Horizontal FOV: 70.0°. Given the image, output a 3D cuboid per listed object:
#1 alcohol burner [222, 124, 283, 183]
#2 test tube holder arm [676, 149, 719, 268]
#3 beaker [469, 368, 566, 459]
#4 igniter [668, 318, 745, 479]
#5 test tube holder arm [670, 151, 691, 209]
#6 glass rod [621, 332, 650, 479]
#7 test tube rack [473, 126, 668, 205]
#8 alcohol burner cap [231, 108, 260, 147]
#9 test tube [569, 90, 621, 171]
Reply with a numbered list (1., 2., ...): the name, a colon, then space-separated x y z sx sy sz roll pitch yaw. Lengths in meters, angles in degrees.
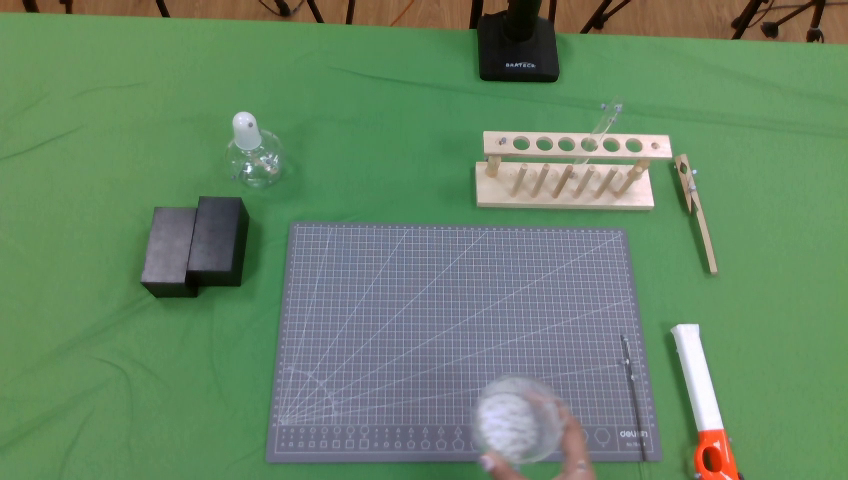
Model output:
1. alcohol burner: -0.224 -0.125 0.777 0.078 0.120 0.077 1 64 -1
2. test tube holder arm: 0.374 -0.046 0.831 0.013 0.015 0.177 -20 64 26
3. beaker: 0.081 0.163 0.560 0.084 0.101 0.073 -12 69 -6
4. igniter: 0.331 0.225 0.704 0.057 0.025 0.274 2 65 -14
5. test tube holder arm: 0.363 -0.085 0.851 0.010 0.015 0.087 -20 64 27
6. glass rod: 0.250 0.204 0.714 0.008 0.008 0.198 0 65 -4
7. test tube rack: 0.192 -0.098 0.807 0.242 0.086 0.066 1 66 -3
8. alcohol burner cap: -0.221 -0.142 0.745 0.034 0.048 0.033 4 59 -7
9. test tube: 0.213 -0.135 0.771 0.017 0.151 0.017 4 61 -6
